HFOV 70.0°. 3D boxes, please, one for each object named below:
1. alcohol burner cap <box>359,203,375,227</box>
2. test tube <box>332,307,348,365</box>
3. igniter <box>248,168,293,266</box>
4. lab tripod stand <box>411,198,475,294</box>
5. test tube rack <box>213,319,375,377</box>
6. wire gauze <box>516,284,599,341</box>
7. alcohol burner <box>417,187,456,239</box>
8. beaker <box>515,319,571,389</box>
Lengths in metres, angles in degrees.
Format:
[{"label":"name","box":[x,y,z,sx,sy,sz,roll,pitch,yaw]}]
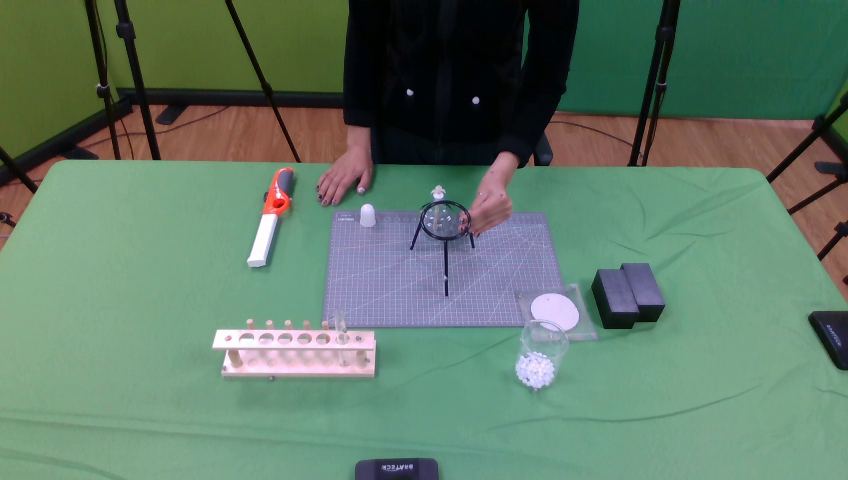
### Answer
[{"label":"alcohol burner cap","box":[-0.115,-0.053,1.224,0.034,0.048,0.033,3,47,-2]},{"label":"test tube","box":[-0.128,0.151,0.931,0.017,0.151,0.017,1,50,-2]},{"label":"igniter","box":[-0.307,-0.055,1.225,0.057,0.025,0.275,-3,46,6]},{"label":"lab tripod stand","box":[0.039,0.004,1.100,0.148,0.132,0.147,1,52,-1]},{"label":"test tube rack","box":[-0.202,0.170,0.977,0.242,0.085,0.066,1,46,-3]},{"label":"wire gauze","box":[0.240,0.131,1.094,0.125,0.011,0.120,-3,47,-8]},{"label":"alcohol burner","box":[0.025,-0.059,1.189,0.078,0.120,0.077,1,48,-1]},{"label":"beaker","box":[0.186,0.186,0.980,0.074,0.101,0.083,-23,51,-24]}]
